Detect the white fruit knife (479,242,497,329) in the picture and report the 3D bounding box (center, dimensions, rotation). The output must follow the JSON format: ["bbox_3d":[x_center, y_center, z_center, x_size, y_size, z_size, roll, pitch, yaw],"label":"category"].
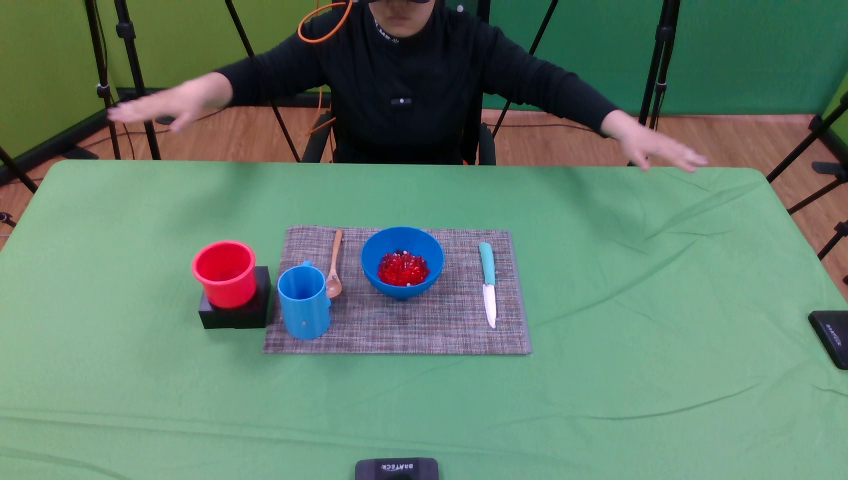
[{"bbox_3d":[0.122,0.080,1.130,0.027,0.016,0.206,-19,45,19],"label":"white fruit knife"}]

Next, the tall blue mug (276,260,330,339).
[{"bbox_3d":[-0.208,0.094,1.025,0.078,0.108,0.106,-21,51,-21],"label":"tall blue mug"}]

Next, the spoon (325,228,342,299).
[{"bbox_3d":[-0.168,0.041,1.140,0.041,0.022,0.192,-10,46,11],"label":"spoon"}]

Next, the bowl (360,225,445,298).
[{"bbox_3d":[-0.040,0.053,1.099,0.151,0.077,0.150,2,46,-2],"label":"bowl"}]
